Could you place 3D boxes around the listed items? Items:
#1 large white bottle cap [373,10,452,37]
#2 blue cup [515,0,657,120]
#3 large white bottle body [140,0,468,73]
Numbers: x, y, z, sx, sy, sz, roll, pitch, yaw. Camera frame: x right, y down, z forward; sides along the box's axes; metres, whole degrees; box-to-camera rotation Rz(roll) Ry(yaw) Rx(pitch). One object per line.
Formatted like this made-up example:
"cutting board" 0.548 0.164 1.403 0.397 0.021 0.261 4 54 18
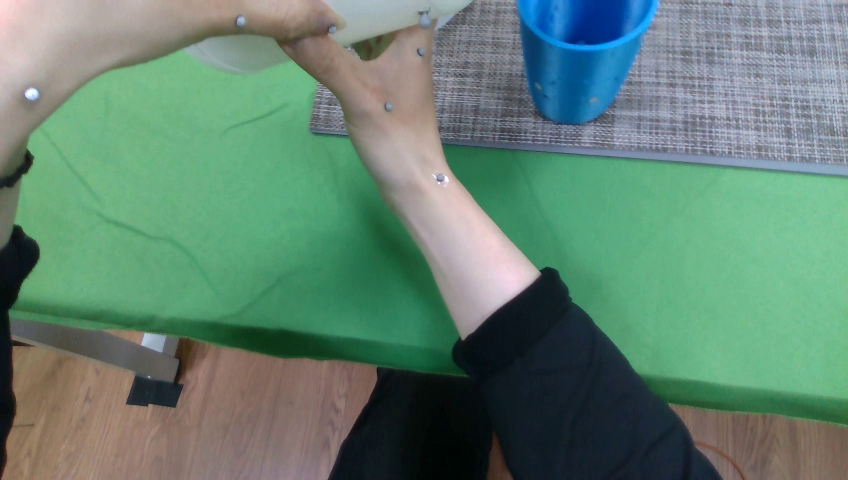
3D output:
"large white bottle cap" -0.023 -0.219 0.498 0.115 0.018 0.114 -1 70 4
"blue cup" 0.103 -0.133 0.410 0.092 0.101 0.092 -2 68 6
"large white bottle body" -0.046 -0.169 0.304 0.184 0.132 0.129 -8 68 24
